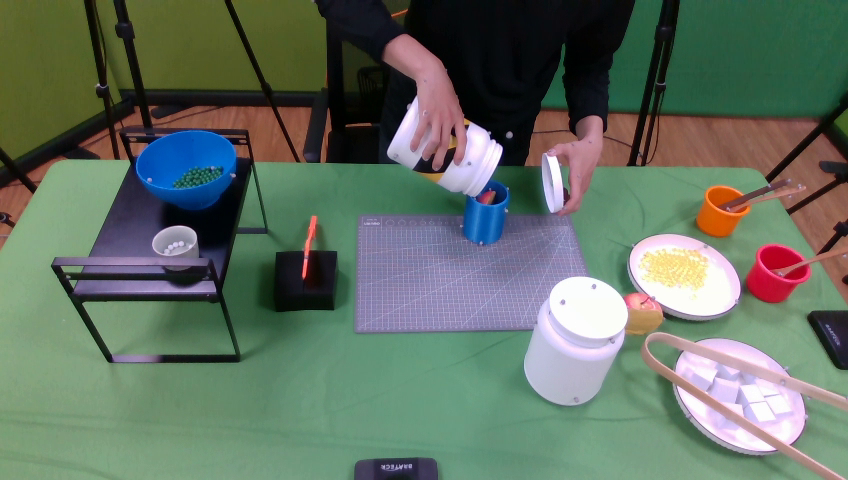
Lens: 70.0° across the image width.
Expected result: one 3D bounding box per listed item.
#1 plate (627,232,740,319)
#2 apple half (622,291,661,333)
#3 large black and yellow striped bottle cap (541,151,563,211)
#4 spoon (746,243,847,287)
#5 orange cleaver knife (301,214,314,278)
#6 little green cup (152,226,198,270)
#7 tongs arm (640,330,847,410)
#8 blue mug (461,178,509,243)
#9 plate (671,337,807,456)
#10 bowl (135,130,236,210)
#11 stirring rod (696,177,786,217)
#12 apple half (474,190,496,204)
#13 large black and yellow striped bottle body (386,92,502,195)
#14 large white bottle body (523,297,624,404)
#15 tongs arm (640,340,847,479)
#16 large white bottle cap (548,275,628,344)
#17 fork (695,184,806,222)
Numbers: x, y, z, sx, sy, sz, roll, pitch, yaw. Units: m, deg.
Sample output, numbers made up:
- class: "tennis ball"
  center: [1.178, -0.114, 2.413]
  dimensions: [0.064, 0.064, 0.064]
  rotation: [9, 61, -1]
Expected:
- class: "plate"
  center: [0.489, 0.070, 1.156]
  dimensions: [0.209, 0.038, 0.208]
  rotation: [3, 46, -3]
- class: "apple half"
  center: [0.372, 0.123, 1.074]
  dimensions: [0.081, 0.075, 0.053]
  rotation: [0, 42, 1]
- class: "large black and yellow striped bottle cap"
  center: [0.241, -0.112, 1.144]
  dimensions: [0.019, 0.115, 0.114]
  rotation: [-9, 47, 3]
- class: "spoon"
  center: [0.702, 0.043, 1.126]
  dimensions: [0.194, 0.022, 0.041]
  rotation: [-29, 38, 30]
- class: "orange cleaver knife"
  center: [-0.218, 0.007, 1.131]
  dimensions: [0.012, 0.077, 0.210]
  rotation: [7, 19, -9]
- class: "little green cup"
  center: [-0.364, 0.013, 0.894]
  dimensions: [0.061, 0.039, 0.061]
  rotation: [3, 46, -3]
- class: "tongs arm"
  center: [0.543, 0.225, 0.969]
  dimensions: [0.384, 0.026, 0.050]
  rotation: [22, 52, 13]
- class: "blue mug"
  center: [0.114, -0.070, 1.210]
  dimensions: [0.082, 0.106, 0.115]
  rotation: [-12, 48, -15]
- class: "plate"
  center: [0.504, 0.254, 0.984]
  dimensions: [0.208, 0.039, 0.206]
  rotation: [2, 46, -2]
- class: "bowl"
  center: [-0.375, -0.102, 0.978]
  dimensions: [0.151, 0.077, 0.150]
  rotation: [2, 46, -2]
- class: "stirring rod"
  center: [0.648, -0.087, 1.244]
  dimensions: [0.176, 0.006, 0.014]
  rotation: [-25, 50, 29]
- class: "apple half"
  center: [0.109, -0.067, 1.200]
  dimensions: [0.033, 0.081, 0.081]
  rotation: [28, 50, 11]
- class: "large black and yellow striped bottle body"
  center: [0.038, -0.171, 1.108]
  dimensions: [0.184, 0.131, 0.130]
  rotation: [28, 47, -9]
- class: "large white bottle body"
  center: [0.235, 0.159, 0.952]
  dimensions: [0.131, 0.185, 0.130]
  rotation: [2, 47, -2]
- class: "tongs arm"
  center: [0.500, 0.277, 0.919]
  dimensions: [0.386, 0.028, 0.028]
  rotation: [34, 59, 22]
- class: "large white bottle cap"
  center: [0.240, 0.100, 0.890]
  dimensions: [0.115, 0.018, 0.114]
  rotation: [3, 47, -3]
- class: "fork"
  center: [0.658, -0.074, 1.230]
  dimensions: [0.207, 0.019, 0.028]
  rotation: [-24, 34, 36]
